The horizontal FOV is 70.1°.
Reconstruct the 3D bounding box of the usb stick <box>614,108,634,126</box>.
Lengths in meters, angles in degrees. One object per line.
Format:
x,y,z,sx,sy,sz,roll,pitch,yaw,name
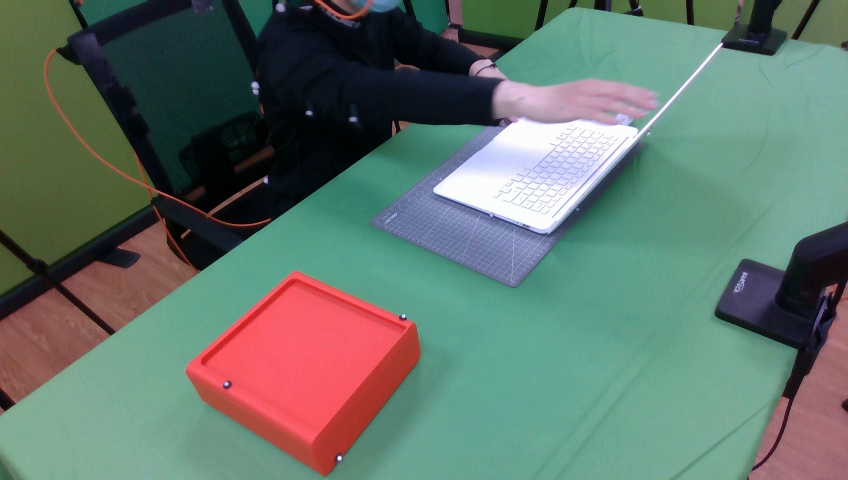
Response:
0.385,-0.233,1.174,0.021,0.027,0.059,22,47,30,usb stick

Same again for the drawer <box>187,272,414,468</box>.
-0.150,0.154,0.768,0.210,0.073,0.195,20,47,27,drawer

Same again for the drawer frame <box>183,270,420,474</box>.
-0.149,0.153,0.767,0.212,0.083,0.202,20,46,27,drawer frame

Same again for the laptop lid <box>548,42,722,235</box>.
0.335,-0.160,0.955,0.013,0.241,0.358,42,54,8,laptop lid

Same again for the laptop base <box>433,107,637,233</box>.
0.210,-0.142,1.110,0.233,0.023,0.355,21,48,33,laptop base
